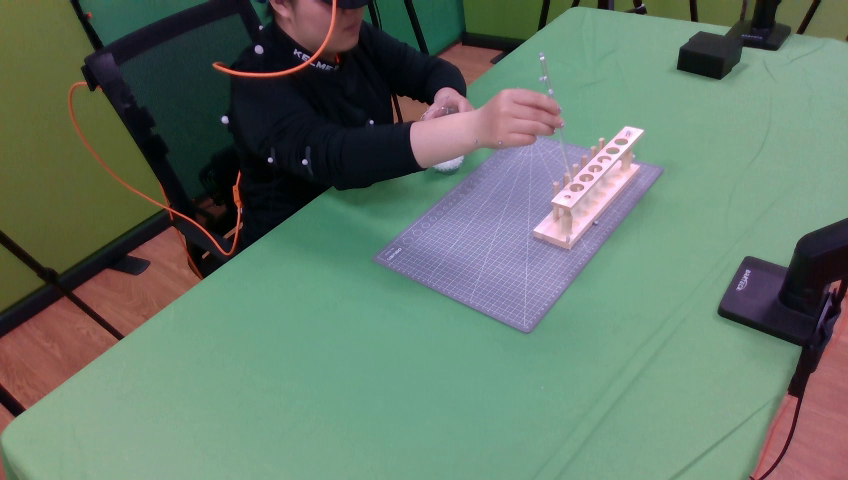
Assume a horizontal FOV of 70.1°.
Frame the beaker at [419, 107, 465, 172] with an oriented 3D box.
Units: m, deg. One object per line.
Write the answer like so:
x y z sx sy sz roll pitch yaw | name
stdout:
0.037 -0.186 1.122 0.073 0.101 0.084 9 47 21 | beaker

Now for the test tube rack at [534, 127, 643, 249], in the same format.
0.272 -0.094 0.990 0.066 0.085 0.243 23 50 33 | test tube rack

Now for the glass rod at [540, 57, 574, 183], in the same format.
0.189 -0.164 0.855 0.008 0.201 0.008 -16 33 11 | glass rod
